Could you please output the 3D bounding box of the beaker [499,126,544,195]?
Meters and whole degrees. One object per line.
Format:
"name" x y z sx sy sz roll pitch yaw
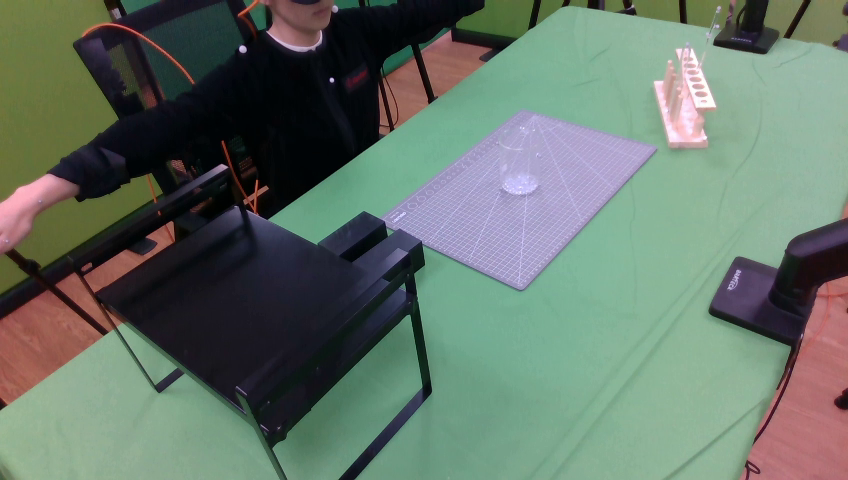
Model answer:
"beaker" 0.170 -0.136 1.045 0.073 0.101 0.084 12 44 21

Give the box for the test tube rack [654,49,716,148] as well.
"test tube rack" 0.502 -0.281 1.176 0.066 0.085 0.241 2 41 11

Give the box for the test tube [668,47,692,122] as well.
"test tube" 0.472 -0.285 1.117 0.017 0.151 0.017 -4 44 4

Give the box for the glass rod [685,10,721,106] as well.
"glass rod" 0.523 -0.336 1.136 0.008 0.200 0.008 -1 47 1
